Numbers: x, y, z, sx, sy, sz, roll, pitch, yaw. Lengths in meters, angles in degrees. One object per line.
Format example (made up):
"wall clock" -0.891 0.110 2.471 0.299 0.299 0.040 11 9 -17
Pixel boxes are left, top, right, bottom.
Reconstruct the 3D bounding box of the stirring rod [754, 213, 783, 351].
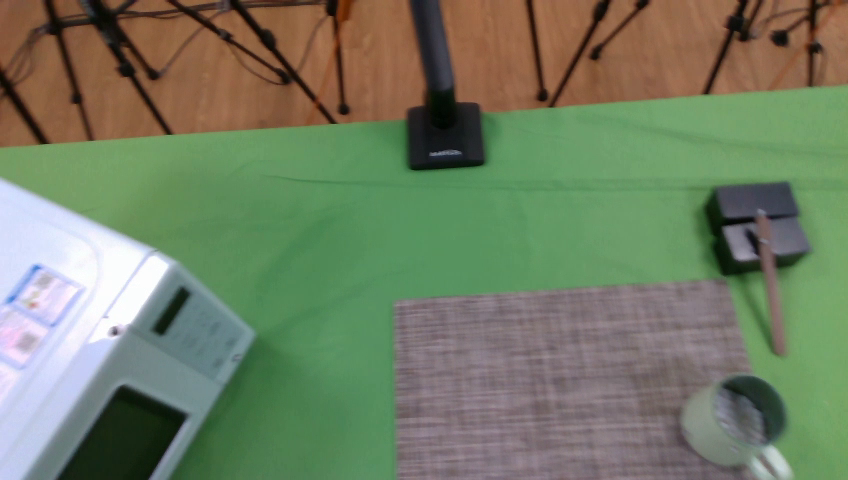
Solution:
"stirring rod" 0.437 0.053 0.768 0.014 0.006 0.176 -7 88 14

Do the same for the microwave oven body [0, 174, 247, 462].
"microwave oven body" -0.474 0.188 0.679 0.324 0.262 0.440 22 69 15

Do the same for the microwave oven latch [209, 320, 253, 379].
"microwave oven latch" -0.255 0.139 0.792 0.030 0.030 0.079 24 69 15

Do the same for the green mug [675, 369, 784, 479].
"green mug" 0.352 0.211 0.681 0.092 0.106 0.124 -26 65 -8

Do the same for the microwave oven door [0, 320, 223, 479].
"microwave oven door" -0.363 0.273 0.622 0.039 0.246 0.354 22 68 16
